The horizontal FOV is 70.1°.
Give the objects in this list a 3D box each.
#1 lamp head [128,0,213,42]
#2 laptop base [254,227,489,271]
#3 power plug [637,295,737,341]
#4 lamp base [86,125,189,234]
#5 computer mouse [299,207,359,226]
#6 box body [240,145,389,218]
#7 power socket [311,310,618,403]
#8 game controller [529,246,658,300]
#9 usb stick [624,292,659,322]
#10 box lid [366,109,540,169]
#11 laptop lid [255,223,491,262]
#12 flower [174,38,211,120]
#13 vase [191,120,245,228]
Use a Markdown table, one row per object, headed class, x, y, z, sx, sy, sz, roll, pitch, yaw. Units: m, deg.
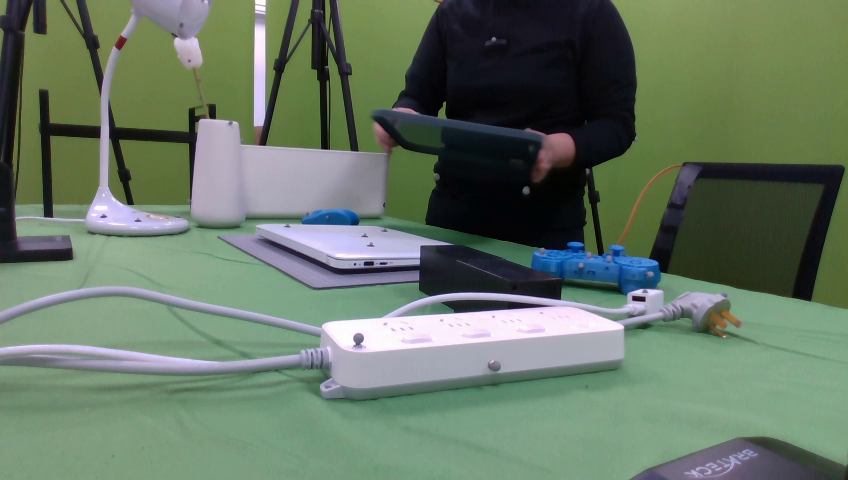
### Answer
| class | x | y | z | sx | sy | sz | roll | pitch | yaw |
| --- | --- | --- | --- | --- | --- | --- | --- | --- | --- |
| lamp head | -0.423 | -0.394 | 0.980 | 0.123 | 0.112 | 0.112 | 20 | 7 | -3 |
| laptop base | -0.096 | 0.011 | 0.911 | 0.237 | 0.023 | 0.352 | 2 | 7 | -32 |
| power plug | 0.235 | 0.077 | 0.535 | 0.072 | 0.035 | 0.052 | -33 | 40 | -6 |
| lamp base | -0.497 | -0.105 | 1.027 | 0.179 | 0.180 | 0.160 | 1 | 7 | 3 |
| computer mouse | -0.194 | -0.046 | 1.241 | 0.117 | 0.041 | 0.063 | 0 | 9 | 11 |
| box body | -0.297 | -0.143 | 1.474 | 0.366 | 0.160 | 0.253 | -1 | 9 | -30 |
| power socket | 0.034 | 0.074 | 0.415 | 0.228 | 0.032 | 0.072 | -1 | 7 | -24 |
| game controller | 0.202 | 0.036 | 0.732 | 0.155 | 0.051 | 0.097 | 5 | 10 | 20 |
| usb stick | 0.211 | 0.064 | 0.580 | 0.021 | 0.027 | 0.059 | -2 | -5 | 36 |
| box lid | 0.061 | -0.165 | 1.043 | 0.263 | 0.015 | 0.372 | 10 | 1 | 7 |
| laptop lid | -0.093 | 0.000 | 0.911 | 0.243 | 0.013 | 0.355 | 1 | 7 | -30 |
| flower | -0.401 | -0.207 | 1.141 | 0.038 | 0.361 | 0.044 | -14 | 3 | 44 |
| vase | -0.389 | -0.124 | 1.142 | 0.098 | 0.200 | 0.098 | 3 | 9 | 0 |
